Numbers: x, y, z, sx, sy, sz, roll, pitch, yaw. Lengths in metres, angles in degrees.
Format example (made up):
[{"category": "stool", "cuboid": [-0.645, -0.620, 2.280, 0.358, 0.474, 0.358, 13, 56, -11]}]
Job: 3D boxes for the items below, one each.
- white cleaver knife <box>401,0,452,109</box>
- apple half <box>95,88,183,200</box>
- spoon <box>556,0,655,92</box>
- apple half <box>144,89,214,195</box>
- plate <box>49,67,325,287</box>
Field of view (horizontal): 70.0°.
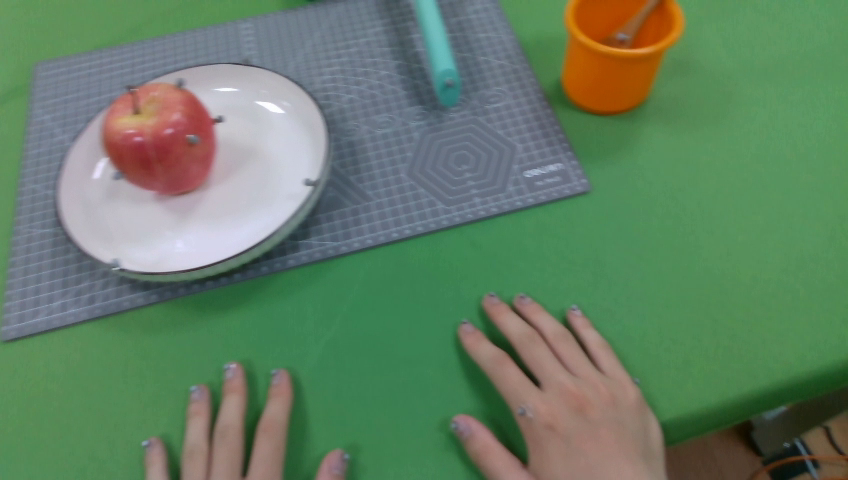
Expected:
[{"category": "white cleaver knife", "cuboid": [-0.017, -0.242, 0.570, 0.021, 0.066, 0.284, -13, 69, -3]}, {"category": "apple half", "cuboid": [-0.216, -0.071, 0.462, 0.053, 0.075, 0.080, -6, 61, 5]}, {"category": "spoon", "cuboid": [0.183, -0.192, 0.488, 0.022, 0.194, 0.041, 13, 43, -43]}, {"category": "apple half", "cuboid": [-0.177, -0.074, 0.461, 0.033, 0.082, 0.080, -7, 58, 5]}, {"category": "plate", "cuboid": [-0.180, -0.051, 0.480, 0.209, 0.038, 0.207, -1, 58, 2]}]
